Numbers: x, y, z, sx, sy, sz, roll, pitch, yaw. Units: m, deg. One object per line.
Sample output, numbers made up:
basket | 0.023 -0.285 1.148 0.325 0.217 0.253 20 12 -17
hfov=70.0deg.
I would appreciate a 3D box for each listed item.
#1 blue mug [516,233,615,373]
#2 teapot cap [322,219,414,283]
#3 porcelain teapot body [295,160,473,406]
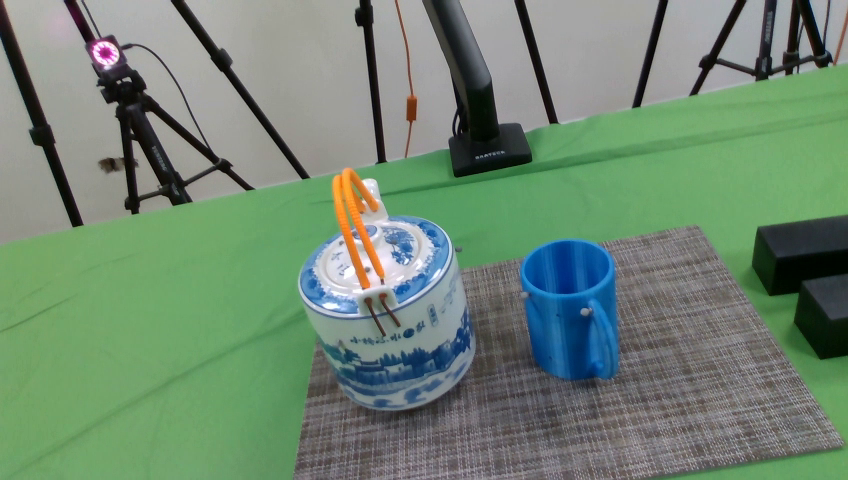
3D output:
blue mug | 0.138 0.067 0.551 0.082 0.107 0.115 -21 37 -8
teapot cap | -0.050 0.005 0.532 0.085 0.044 0.084 -8 34 6
porcelain teapot body | -0.045 0.020 0.578 0.145 0.227 0.203 -16 36 0
